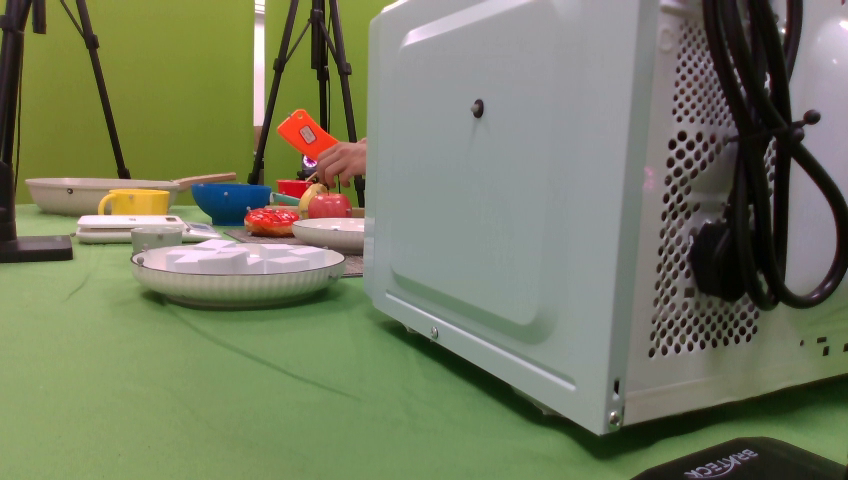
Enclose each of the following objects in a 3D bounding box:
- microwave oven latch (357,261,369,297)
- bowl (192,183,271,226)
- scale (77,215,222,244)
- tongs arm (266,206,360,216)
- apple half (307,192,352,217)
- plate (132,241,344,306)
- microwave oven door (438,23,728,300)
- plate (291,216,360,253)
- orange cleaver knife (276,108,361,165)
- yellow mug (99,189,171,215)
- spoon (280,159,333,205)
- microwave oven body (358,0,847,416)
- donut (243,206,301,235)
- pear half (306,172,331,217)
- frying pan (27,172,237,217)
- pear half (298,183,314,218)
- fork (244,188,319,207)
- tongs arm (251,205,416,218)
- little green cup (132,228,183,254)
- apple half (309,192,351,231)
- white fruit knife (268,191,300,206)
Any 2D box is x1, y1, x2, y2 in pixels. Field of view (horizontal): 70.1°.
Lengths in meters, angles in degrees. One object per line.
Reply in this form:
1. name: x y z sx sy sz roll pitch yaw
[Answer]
1. microwave oven latch: -0.019 0.033 0.531 0.079 0.029 0.030 -1 7 -27
2. bowl: -0.382 -0.070 1.202 0.151 0.077 0.151 3 7 0
3. scale: -0.434 -0.019 0.963 0.202 0.031 0.148 -1 9 -27
4. tongs arm: -0.173 -0.061 1.362 0.387 0.026 0.050 -1 3 -31
5. apple half: -0.174 -0.049 1.087 0.081 0.074 0.053 6 11 2
6. plate: -0.187 0.033 0.625 0.208 0.039 0.207 2 7 0
7. microwave oven door: 0.181 -0.073 0.621 0.358 0.243 0.039 -2 8 -29
8. plate: -0.103 -0.009 0.945 0.209 0.038 0.209 2 8 0
9. orange cleaver knife: -0.204 -0.194 1.245 0.212 0.077 0.012 30 8 -38
10. yellow mug: -0.519 -0.055 1.080 0.099 0.064 0.131 7 9 26
11. spoon: -0.316 -0.159 1.640 0.194 0.022 0.041 -50 32 -20
12. microwave oven body: 0.211 -0.047 0.474 0.444 0.260 0.324 -1 7 -28
13. donut: -0.261 -0.032 1.043 0.099 0.048 0.099 3 9 0
14. pear half: -0.199 -0.079 1.203 0.056 0.110 0.076 4 10 1
15. frying pan: -0.624 -0.118 1.387 0.305 0.102 0.490 8 17 32
16. pear half: -0.235 -0.071 1.207 0.031 0.088 0.070 3 10 0
17. fork: -0.356 -0.105 1.526 0.208 0.018 0.028 16 -5 -41
18. tongs arm: -0.210 -0.067 1.439 0.389 0.027 0.028 0 -1 -17
19. little green cup: -0.342 0.006 0.779 0.061 0.038 0.061 2 8 0
20. apple half: -0.173 -0.055 1.125 0.081 0.081 0.033 2 11 2
21. white fruit knife: -0.364 -0.105 1.464 0.208 0.027 0.016 15 -1 -34
